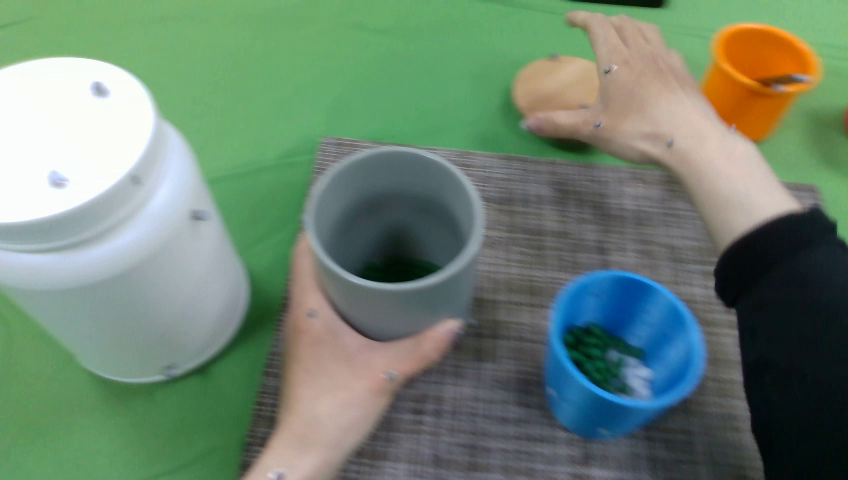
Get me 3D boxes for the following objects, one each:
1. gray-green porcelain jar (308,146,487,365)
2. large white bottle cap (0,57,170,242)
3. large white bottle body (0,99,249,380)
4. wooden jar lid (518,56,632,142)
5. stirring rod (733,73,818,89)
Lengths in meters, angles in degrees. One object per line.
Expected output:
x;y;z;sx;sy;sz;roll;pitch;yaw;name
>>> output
-0.017;0.018;0.406;0.106;0.127;0.105;1;57;-1;gray-green porcelain jar
-0.192;-0.050;0.310;0.115;0.018;0.113;1;57;-1;large white bottle cap
-0.194;-0.003;0.381;0.131;0.186;0.129;1;56;-2;large white bottle body
0.143;-0.135;0.582;0.108;0.021;0.107;1;56;-2;wooden jar lid
0.296;-0.135;0.519;0.014;0.006;0.176;12;14;10;stirring rod
